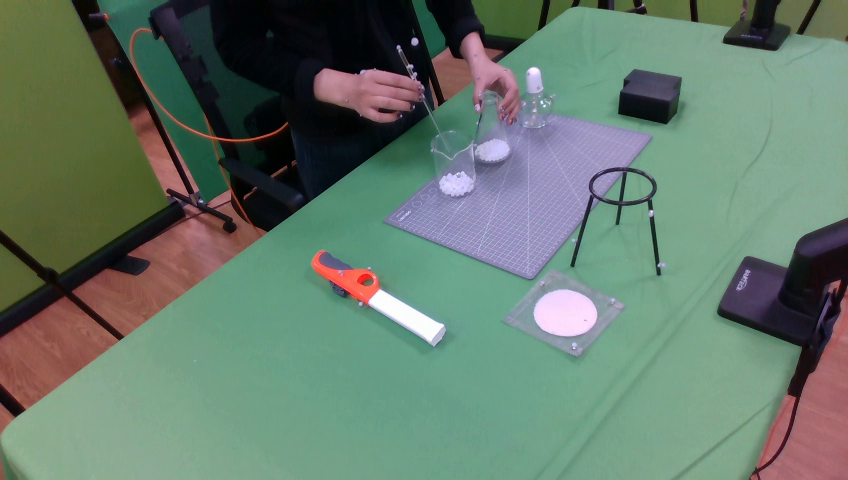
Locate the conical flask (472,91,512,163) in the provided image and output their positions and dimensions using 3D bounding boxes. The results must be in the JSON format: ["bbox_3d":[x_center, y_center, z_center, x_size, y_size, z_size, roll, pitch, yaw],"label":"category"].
[{"bbox_3d":[0.122,-0.208,1.105,0.075,0.122,0.075,-5,41,5],"label":"conical flask"}]

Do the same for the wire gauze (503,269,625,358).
[{"bbox_3d":[0.194,0.100,0.840,0.120,0.011,0.125,27,54,36],"label":"wire gauze"}]

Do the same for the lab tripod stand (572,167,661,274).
[{"bbox_3d":[0.283,-0.030,0.879,0.148,0.132,0.147,-7,38,6],"label":"lab tripod stand"}]

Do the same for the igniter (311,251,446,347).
[{"bbox_3d":[-0.078,0.081,0.899,0.274,0.025,0.057,27,62,35],"label":"igniter"}]

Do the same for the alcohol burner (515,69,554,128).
[{"bbox_3d":[0.221,-0.285,1.203,0.078,0.119,0.077,-4,39,4],"label":"alcohol burner"}]

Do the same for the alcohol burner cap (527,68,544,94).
[{"bbox_3d":[0.216,-0.312,1.179,0.034,0.048,0.033,-10,40,9],"label":"alcohol burner cap"}]

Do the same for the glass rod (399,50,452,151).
[{"bbox_3d":[0.005,-0.223,0.985,0.008,0.201,0.008,-19,40,17],"label":"glass rod"}]

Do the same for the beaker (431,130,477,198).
[{"bbox_3d":[0.055,-0.130,1.064,0.074,0.101,0.083,-4,41,8],"label":"beaker"}]
